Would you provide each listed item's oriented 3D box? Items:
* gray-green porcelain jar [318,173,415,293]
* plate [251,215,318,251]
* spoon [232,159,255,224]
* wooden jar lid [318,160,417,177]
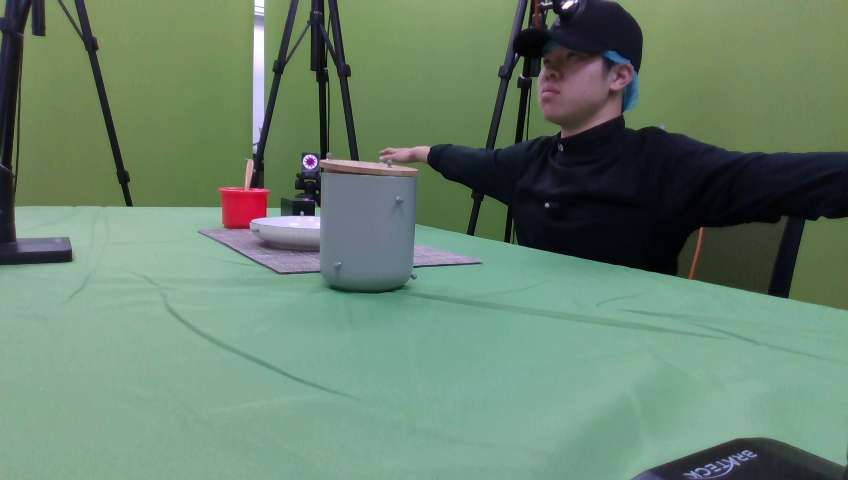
[{"bbox_3d":[-0.064,-0.010,0.672,0.106,0.126,0.106,2,7,0],"label":"gray-green porcelain jar"},{"bbox_3d":[-0.170,-0.012,0.971,0.208,0.039,0.207,2,7,0],"label":"plate"},{"bbox_3d":[-0.356,-0.101,1.218,0.042,0.021,0.193,2,51,-9],"label":"spoon"},{"bbox_3d":[-0.063,-0.073,0.665,0.108,0.020,0.108,5,9,0],"label":"wooden jar lid"}]
